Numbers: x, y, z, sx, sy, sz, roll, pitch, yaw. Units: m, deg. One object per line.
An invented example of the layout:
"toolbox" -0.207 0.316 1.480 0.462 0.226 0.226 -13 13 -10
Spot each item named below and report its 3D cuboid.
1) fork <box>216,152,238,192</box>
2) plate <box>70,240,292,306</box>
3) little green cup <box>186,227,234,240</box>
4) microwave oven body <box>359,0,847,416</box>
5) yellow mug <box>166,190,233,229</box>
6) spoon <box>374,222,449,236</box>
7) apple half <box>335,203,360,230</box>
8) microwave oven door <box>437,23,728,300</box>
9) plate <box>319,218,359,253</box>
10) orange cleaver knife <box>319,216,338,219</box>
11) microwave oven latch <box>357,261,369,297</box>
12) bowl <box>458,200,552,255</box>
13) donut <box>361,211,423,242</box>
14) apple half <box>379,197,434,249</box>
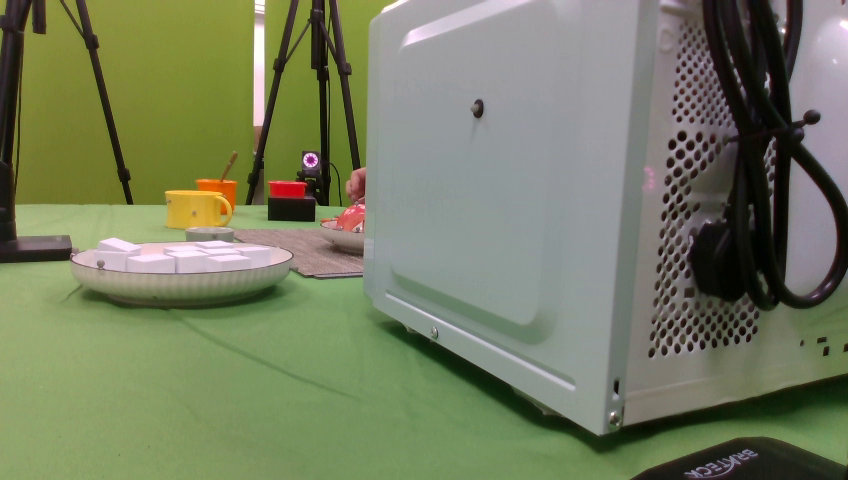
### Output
"fork" -0.455 -0.132 1.367 0.028 0.018 0.207 -2 -35 -37
"plate" -0.242 0.032 0.618 0.208 0.039 0.207 2 8 0
"little green cup" -0.284 0.005 0.805 0.061 0.038 0.061 2 8 0
"microwave oven body" 0.211 -0.047 0.474 0.444 0.260 0.324 -1 7 -28
"yellow mug" -0.415 -0.057 1.132 0.130 0.064 0.100 6 8 16
"spoon" -0.029 -0.025 1.178 0.193 0.021 0.042 9 25 41
"apple half" -0.116 -0.038 0.960 0.081 0.033 0.081 -37 8 7
"microwave oven door" 0.181 -0.072 0.621 0.358 0.243 0.039 -2 8 -29
"plate" -0.059 -0.007 0.939 0.209 0.038 0.209 3 8 0
"orange cleaver knife" -0.142 -0.057 1.395 0.077 0.012 0.212 2 7 44
"microwave oven latch" -0.019 0.033 0.531 0.079 0.029 0.030 -1 7 -27
"bowl" 0.128 -0.020 0.977 0.151 0.077 0.151 2 8 0
"donut" -0.050 -0.020 0.958 0.099 0.048 0.099 3 6 0
"apple half" -0.021 -0.030 0.890 0.081 0.053 0.074 -4 50 -22
